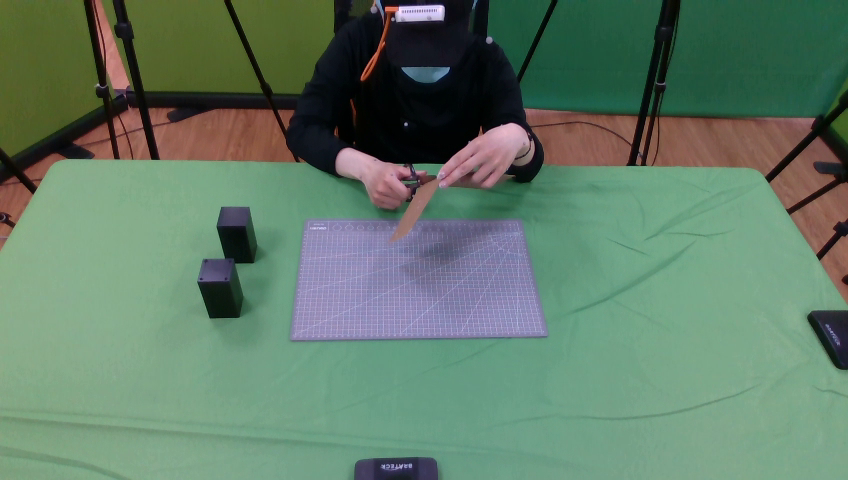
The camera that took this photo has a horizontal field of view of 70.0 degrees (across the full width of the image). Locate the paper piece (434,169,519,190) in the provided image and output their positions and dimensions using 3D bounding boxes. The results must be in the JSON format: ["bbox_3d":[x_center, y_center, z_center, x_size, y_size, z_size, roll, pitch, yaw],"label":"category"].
[{"bbox_3d":[0.088,-0.112,1.137,0.138,0.136,0.008,-2,83,-17],"label":"paper piece"}]

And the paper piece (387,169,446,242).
[{"bbox_3d":[-0.017,-0.060,1.092,0.004,0.135,0.135,34,74,-13],"label":"paper piece"}]

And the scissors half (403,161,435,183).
[{"bbox_3d":[-0.010,-0.129,1.172,0.013,0.040,0.174,-15,17,-17],"label":"scissors half"}]

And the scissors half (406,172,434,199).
[{"bbox_3d":[-0.007,-0.108,1.173,0.013,0.175,0.040,-9,84,-17],"label":"scissors half"}]
